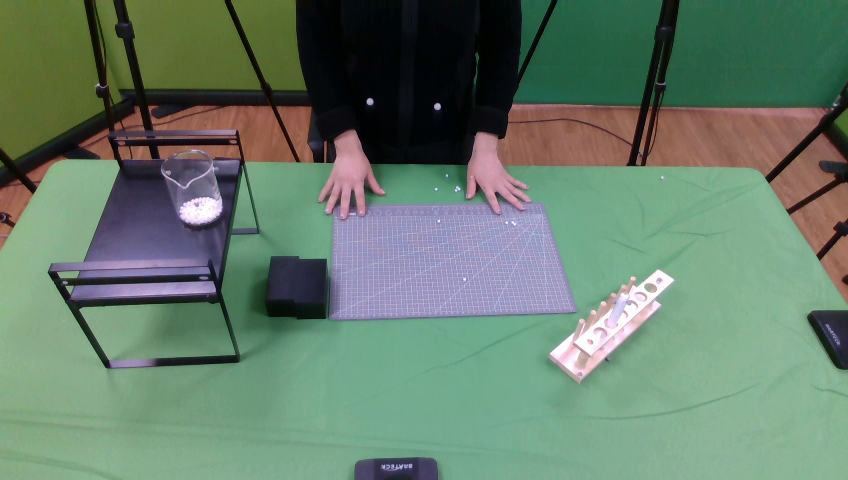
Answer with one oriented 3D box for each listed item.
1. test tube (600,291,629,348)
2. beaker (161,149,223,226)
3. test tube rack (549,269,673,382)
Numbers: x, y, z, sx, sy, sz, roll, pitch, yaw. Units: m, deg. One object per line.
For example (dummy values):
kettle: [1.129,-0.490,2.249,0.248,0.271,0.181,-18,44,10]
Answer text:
test tube: [0.304,0.132,0.980,0.017,0.151,0.017,1,50,-1]
beaker: [-0.357,-0.077,0.942,0.074,0.101,0.083,-4,47,-7]
test tube rack: [0.325,0.134,1.047,0.242,0.085,0.066,-32,56,-30]
